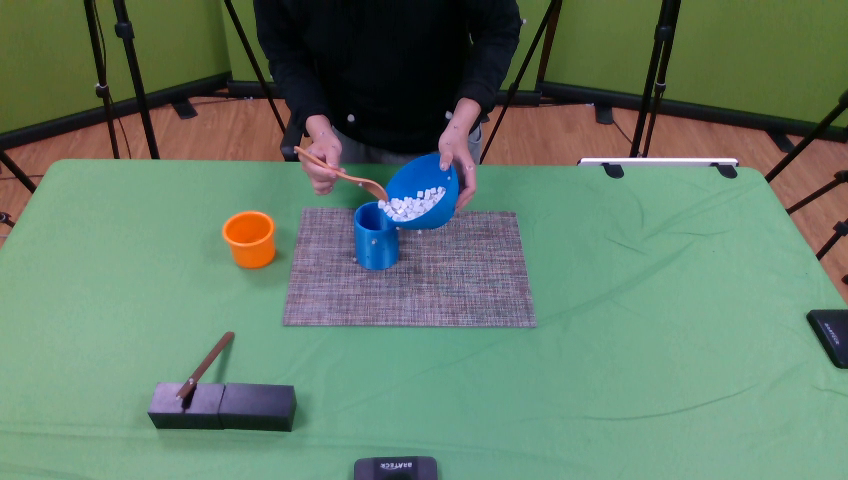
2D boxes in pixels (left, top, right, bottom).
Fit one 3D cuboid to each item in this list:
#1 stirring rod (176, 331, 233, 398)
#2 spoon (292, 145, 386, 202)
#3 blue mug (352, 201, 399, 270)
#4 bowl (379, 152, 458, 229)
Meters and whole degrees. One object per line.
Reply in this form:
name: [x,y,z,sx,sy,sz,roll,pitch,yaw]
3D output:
stirring rod: [-0.342,0.192,0.955,0.014,0.006,0.175,3,24,7]
spoon: [-0.150,-0.118,1.067,0.194,0.042,0.021,26,70,2]
blue mug: [-0.082,-0.017,1.144,0.082,0.106,0.116,30,51,22]
bowl: [0.004,-0.072,1.072,0.151,0.077,0.150,-21,46,24]
